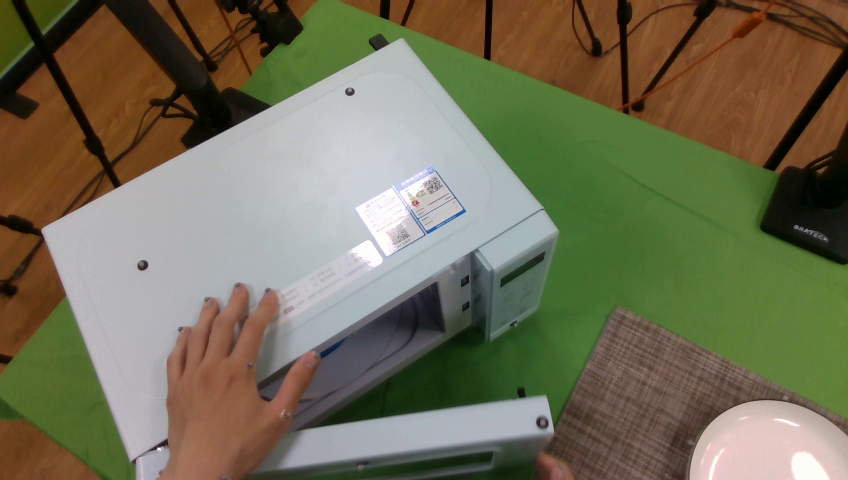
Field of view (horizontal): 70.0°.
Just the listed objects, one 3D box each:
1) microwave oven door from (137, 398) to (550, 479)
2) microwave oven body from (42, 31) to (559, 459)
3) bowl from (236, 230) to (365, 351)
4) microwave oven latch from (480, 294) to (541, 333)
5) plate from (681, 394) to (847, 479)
[{"bbox_3d":[-0.060,0.216,0.615,0.356,0.246,0.039,-8,63,1],"label":"microwave oven door"},{"bbox_3d":[-0.126,0.025,0.713,0.442,0.262,0.323,-31,67,-9],"label":"microwave oven body"},{"bbox_3d":[-0.140,0.071,0.731,0.151,0.077,0.150,-2,61,4],"label":"bowl"},{"bbox_3d":[0.110,0.086,0.774,0.079,0.030,0.030,-30,67,-8],"label":"microwave oven latch"},{"bbox_3d":[0.393,0.280,0.678,0.207,0.039,0.206,-1,65,4],"label":"plate"}]
